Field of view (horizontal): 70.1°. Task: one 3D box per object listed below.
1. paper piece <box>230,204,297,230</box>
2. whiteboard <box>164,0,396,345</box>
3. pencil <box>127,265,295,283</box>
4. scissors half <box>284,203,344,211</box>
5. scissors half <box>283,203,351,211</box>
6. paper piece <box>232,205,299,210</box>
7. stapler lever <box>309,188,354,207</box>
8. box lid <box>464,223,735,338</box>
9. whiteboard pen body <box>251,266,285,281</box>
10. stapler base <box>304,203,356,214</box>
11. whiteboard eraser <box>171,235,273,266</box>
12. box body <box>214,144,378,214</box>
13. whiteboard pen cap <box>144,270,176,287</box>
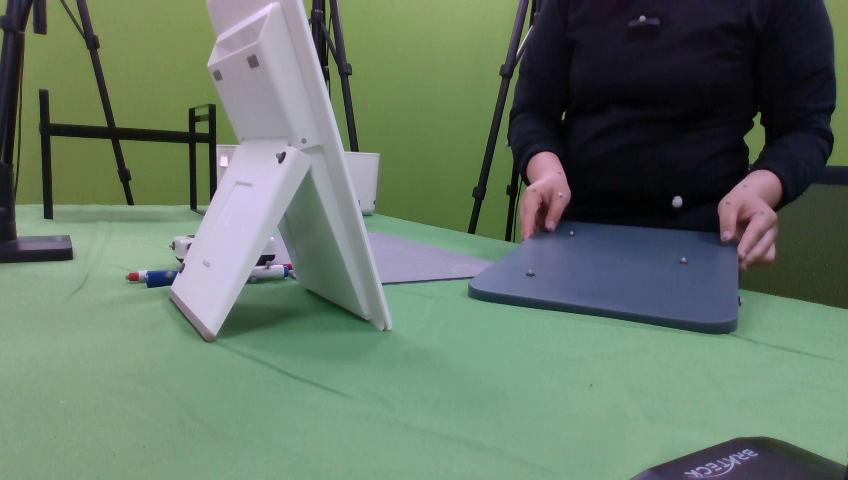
[{"bbox_3d":[-0.392,-0.059,1.469,0.139,0.008,0.135,-8,28,-26],"label":"paper piece"},{"bbox_3d":[-0.173,-0.053,0.511,0.144,0.305,0.216,-23,19,-26],"label":"whiteboard"},{"bbox_3d":[-0.231,0.037,0.691,0.195,0.012,0.012,-2,9,-34],"label":"pencil"},{"bbox_3d":[-0.281,-0.083,1.552,0.176,0.013,0.040,-9,6,-44],"label":"scissors half"},{"bbox_3d":[-0.269,-0.081,1.534,0.176,0.013,0.040,-6,10,-23],"label":"scissors half"},{"bbox_3d":[-0.388,-0.079,1.466,0.136,0.004,0.135,-2,7,-30],"label":"paper piece"},{"bbox_3d":[-0.231,-0.106,1.509,0.119,0.040,0.026,3,9,-35],"label":"stapler lever"},{"bbox_3d":[0.230,0.032,0.733,0.262,0.015,0.373,6,16,26],"label":"box lid"},{"bbox_3d":[-0.220,0.039,0.656,0.141,0.017,0.017,-2,9,-31],"label":"whiteboard pen body"},{"bbox_3d":[-0.235,-0.081,1.510,0.131,0.024,0.041,2,9,-35],"label":"stapler base"},{"bbox_3d":[-0.248,0.014,0.747,0.113,0.042,0.055,-1,10,-32],"label":"whiteboard eraser"},{"bbox_3d":[-0.328,-0.154,1.543,0.366,0.160,0.253,-2,9,-32],"label":"box body"},{"bbox_3d":[-0.271,0.039,0.627,0.033,0.018,0.018,-3,10,-32],"label":"whiteboard pen cap"}]
